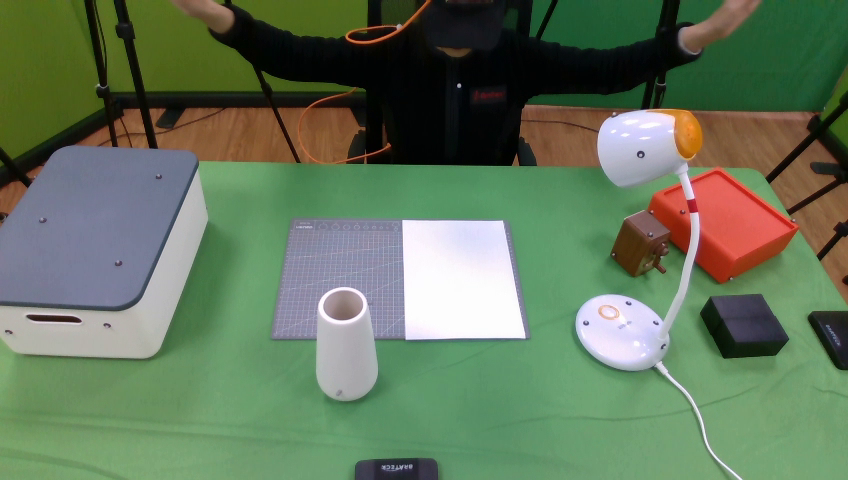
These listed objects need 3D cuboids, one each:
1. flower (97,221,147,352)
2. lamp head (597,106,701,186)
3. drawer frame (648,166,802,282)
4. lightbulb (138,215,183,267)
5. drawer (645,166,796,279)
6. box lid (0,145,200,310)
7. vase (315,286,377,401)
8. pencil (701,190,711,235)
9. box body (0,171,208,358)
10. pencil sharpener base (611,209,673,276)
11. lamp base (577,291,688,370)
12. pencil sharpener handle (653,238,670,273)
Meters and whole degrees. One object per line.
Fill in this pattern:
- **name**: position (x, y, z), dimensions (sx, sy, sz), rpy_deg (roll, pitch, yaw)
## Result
- **flower**: position (-0.557, 0.069, 1.089), dimensions (0.044, 0.038, 0.359), rpy_deg (-24, 47, -19)
- **lamp head**: position (0.328, -0.138, 0.865), dimensions (0.112, 0.113, 0.122), rpy_deg (-36, 20, -32)
- **drawer frame**: position (0.603, -0.040, 1.233), dimensions (0.202, 0.083, 0.212), rpy_deg (-21, 51, -23)
- **lightbulb**: position (-0.496, 0.003, 1.131), dimensions (0.059, 0.060, 0.107), rpy_deg (18, 63, 13)
- **drawer**: position (0.600, -0.040, 1.236), dimensions (0.195, 0.073, 0.210), rpy_deg (-21, 52, -23)
- **box lid**: position (-0.541, -0.037, 0.993), dimensions (0.263, 0.015, 0.369), rpy_deg (3, 45, -2)
- **vase**: position (-0.119, 0.159, 0.911), dimensions (0.098, 0.201, 0.097), rpy_deg (2, 47, -2)
- **pencil**: position (0.585, -0.059, 1.256), dimensions (0.012, 0.012, 0.193), rpy_deg (16, 34, 11)
- **box body**: position (-0.546, 0.017, 1.045), dimensions (0.254, 0.161, 0.361), rpy_deg (2, 46, -2)
- **pencil sharpener base**: position (0.416, 0.007, 1.158), dimensions (0.061, 0.107, 0.076), rpy_deg (-21, 51, -22)
- **lamp base**: position (0.361, 0.110, 1.003), dimensions (0.160, 0.181, 0.178), rpy_deg (-30, 57, -29)
- **pencil sharpener handle**: position (0.444, 0.030, 1.120), dimensions (0.036, 0.068, 0.030), rpy_deg (-25, 52, -18)
